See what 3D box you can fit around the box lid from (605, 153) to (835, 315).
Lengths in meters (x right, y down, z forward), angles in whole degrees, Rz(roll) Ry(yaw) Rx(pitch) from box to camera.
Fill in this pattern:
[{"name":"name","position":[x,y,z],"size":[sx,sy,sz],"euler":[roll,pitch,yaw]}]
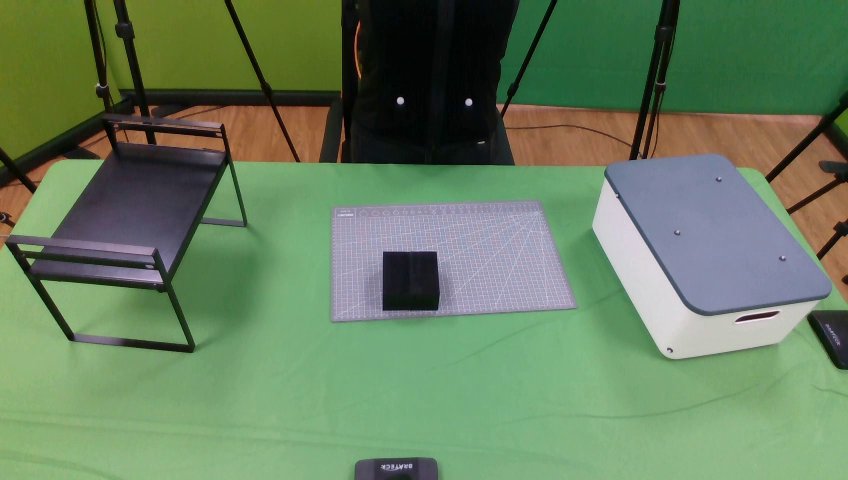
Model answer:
[{"name":"box lid","position":[0.499,-0.030,1.060],"size":[0.264,0.015,0.369],"euler":[-6,47,-10]}]

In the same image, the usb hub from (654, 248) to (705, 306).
[{"name":"usb hub","position":[0.482,0.069,1.150],"size":[0.049,0.025,0.124],"euler":[-1,48,-8]}]

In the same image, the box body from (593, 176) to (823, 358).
[{"name":"box body","position":[0.497,0.023,1.112],"size":[0.254,0.161,0.361],"euler":[-7,47,-10]}]
